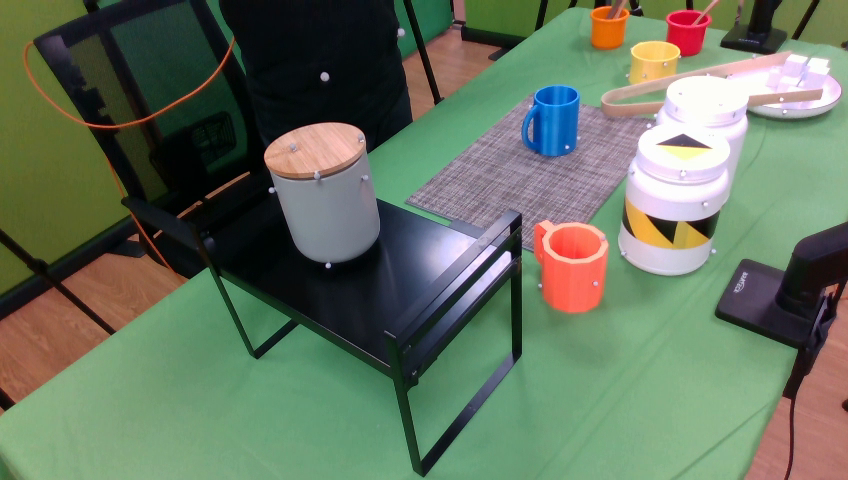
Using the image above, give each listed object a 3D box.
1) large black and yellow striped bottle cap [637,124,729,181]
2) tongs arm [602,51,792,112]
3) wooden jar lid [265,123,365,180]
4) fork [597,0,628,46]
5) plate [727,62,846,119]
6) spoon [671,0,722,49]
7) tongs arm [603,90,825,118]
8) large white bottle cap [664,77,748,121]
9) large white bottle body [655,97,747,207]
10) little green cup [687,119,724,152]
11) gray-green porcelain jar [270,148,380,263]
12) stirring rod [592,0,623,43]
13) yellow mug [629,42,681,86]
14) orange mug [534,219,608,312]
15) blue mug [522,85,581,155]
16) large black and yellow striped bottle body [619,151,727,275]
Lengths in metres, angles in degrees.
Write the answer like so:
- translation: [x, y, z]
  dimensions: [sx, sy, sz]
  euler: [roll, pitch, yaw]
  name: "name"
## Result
- translation: [0.346, -0.119, 0.810]
  dimensions: [0.115, 0.019, 0.114]
  euler: [-5, 41, 5]
  name: "large black and yellow striped bottle cap"
- translation: [0.552, -0.320, 1.224]
  dimensions: [0.384, 0.027, 0.050]
  euler: [-10, 43, 7]
  name: "tongs arm"
- translation: [-0.115, -0.092, 0.651]
  dimensions: [0.108, 0.021, 0.108]
  euler: [-5, 38, 4]
  name: "wooden jar lid"
- translation: [0.479, -0.558, 1.455]
  dimensions: [0.028, 0.019, 0.207]
  euler: [35, 100, 37]
  name: "fork"
- translation: [0.709, -0.292, 1.197]
  dimensions: [0.207, 0.039, 0.206]
  euler: [-4, 40, 4]
  name: "plate"
- translation: [0.639, -0.510, 1.380]
  dimensions: [0.193, 0.022, 0.041]
  euler: [-50, 40, 19]
  name: "spoon"
- translation: [0.546, -0.262, 1.163]
  dimensions: [0.386, 0.028, 0.028]
  euler: [-1, 49, 18]
  name: "tongs arm"
- translation: [0.421, -0.212, 0.905]
  dimensions: [0.115, 0.018, 0.114]
  euler: [-4, 40, 4]
  name: "large white bottle cap"
- translation: [0.431, -0.148, 0.959]
  dimensions: [0.130, 0.185, 0.130]
  euler: [-4, 41, 4]
  name: "large white bottle body"
- translation: [0.514, -0.191, 1.109]
  dimensions: [0.061, 0.039, 0.061]
  euler: [-5, 40, 5]
  name: "little green cup"
- translation: [-0.109, -0.045, 0.692]
  dimensions: [0.106, 0.127, 0.105]
  euler: [-4, 40, 4]
  name: "gray-green porcelain jar"
- translation: [0.460, -0.557, 1.461]
  dimensions: [0.014, 0.176, 0.006]
  euler: [35, 11, 22]
  name: "stirring rod"
- translation: [0.495, -0.389, 1.321]
  dimensions: [0.100, 0.064, 0.130]
  euler: [-14, 40, -6]
  name: "yellow mug"
- translation: [0.200, 0.027, 0.858]
  dimensions: [0.084, 0.101, 0.125]
  euler: [-24, 47, -18]
  name: "orange mug"
- translation: [0.233, -0.218, 1.127]
  dimensions: [0.117, 0.106, 0.081]
  euler: [-23, 43, -16]
  name: "blue mug"
- translation: [0.354, -0.056, 0.865]
  dimensions: [0.131, 0.185, 0.130]
  euler: [-4, 41, 4]
  name: "large black and yellow striped bottle body"
